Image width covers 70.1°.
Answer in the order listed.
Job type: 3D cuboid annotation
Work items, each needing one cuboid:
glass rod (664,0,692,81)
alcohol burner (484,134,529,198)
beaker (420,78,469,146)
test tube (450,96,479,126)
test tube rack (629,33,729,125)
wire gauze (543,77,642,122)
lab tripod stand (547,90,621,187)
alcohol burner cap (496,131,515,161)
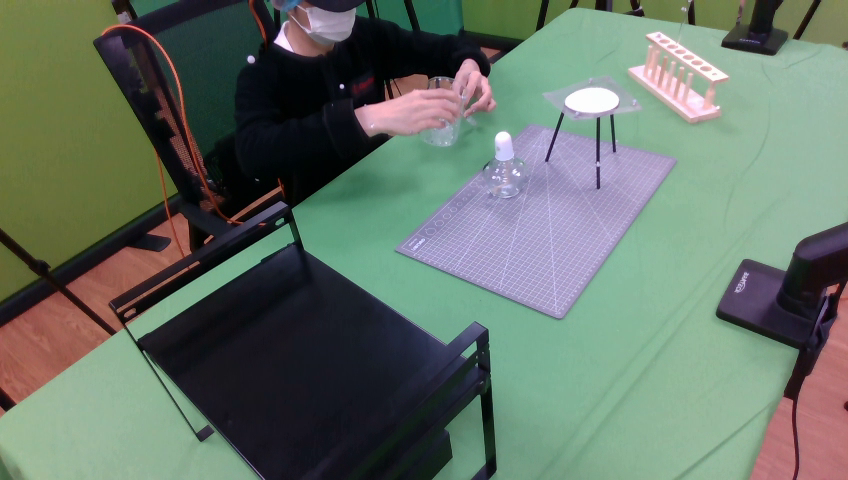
[{"bbox_3d":[0.524,-0.419,1.240,0.008,0.200,0.008,1,42,-1],"label":"glass rod"},{"bbox_3d":[0.141,-0.133,1.041,0.078,0.119,0.077,-4,43,5],"label":"alcohol burner"},{"bbox_3d":[0.035,-0.220,1.062,0.074,0.084,0.100,9,82,13],"label":"beaker"},{"bbox_3d":[0.081,-0.248,1.175,0.017,0.151,0.017,-3,83,21],"label":"test tube"},{"bbox_3d":[0.516,-0.337,1.247,0.067,0.085,0.240,-14,41,-7],"label":"test tube rack"},{"bbox_3d":[0.282,-0.236,1.020,0.125,0.011,0.120,-15,40,-6],"label":"wire gauze"},{"bbox_3d":[0.289,-0.184,1.062,0.148,0.132,0.147,-6,41,6],"label":"lab tripod stand"},{"bbox_3d":[0.135,-0.160,1.018,0.034,0.048,0.033,-8,36,6],"label":"alcohol burner cap"}]
